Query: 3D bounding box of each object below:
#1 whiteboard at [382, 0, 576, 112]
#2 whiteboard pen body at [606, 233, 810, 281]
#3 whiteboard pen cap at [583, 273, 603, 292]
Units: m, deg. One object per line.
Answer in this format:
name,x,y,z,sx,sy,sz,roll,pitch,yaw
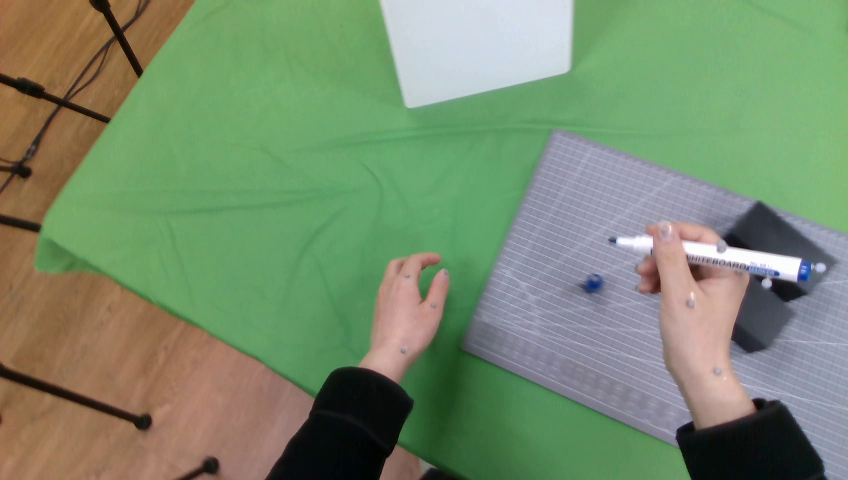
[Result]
whiteboard,0.052,-0.330,0.693,0.217,0.308,0.142,-12,54,2
whiteboard pen body,0.200,0.009,0.444,0.139,0.017,0.017,12,73,37
whiteboard pen cap,0.190,0.048,0.683,0.018,0.033,0.018,-1,76,3
